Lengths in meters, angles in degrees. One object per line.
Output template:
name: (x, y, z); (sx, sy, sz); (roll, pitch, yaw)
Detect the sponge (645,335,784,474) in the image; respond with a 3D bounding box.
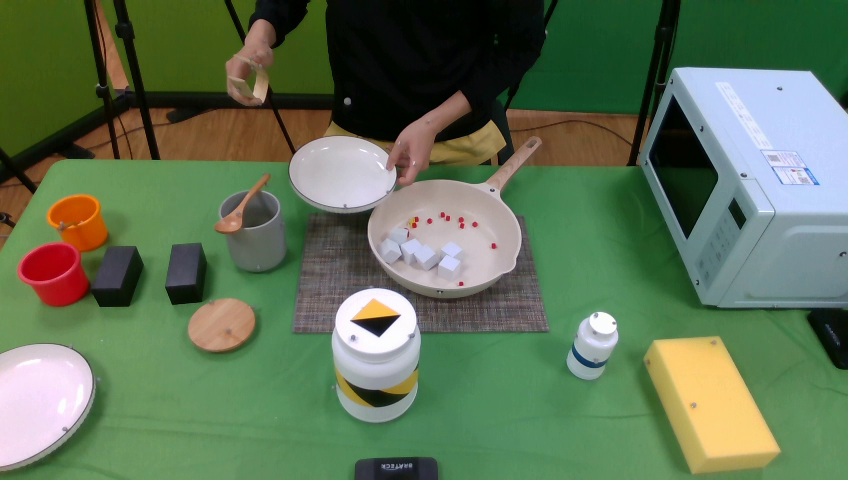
sponge: (0.449, 0.253, 0.956); (0.118, 0.061, 0.205); (-4, 46, -7)

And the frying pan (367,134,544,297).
frying pan: (0.104, -0.069, 1.205); (0.305, 0.103, 0.487); (33, 61, 23)

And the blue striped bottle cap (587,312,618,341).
blue striped bottle cap: (0.279, 0.134, 0.947); (0.044, 0.021, 0.044); (2, 45, -2)

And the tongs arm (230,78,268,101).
tongs arm: (-0.309, -0.271, 1.085); (0.028, 0.028, 0.386); (7, 8, -11)

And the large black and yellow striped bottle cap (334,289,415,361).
large black and yellow striped bottle cap: (-0.069, 0.117, 0.850); (0.115, 0.019, 0.114); (2, 45, -2)

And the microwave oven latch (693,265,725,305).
microwave oven latch: (0.523, 0.081, 1.116); (0.030, 0.029, 0.078); (2, 46, -1)

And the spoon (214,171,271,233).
spoon: (-0.312, -0.070, 1.070); (0.041, 0.022, 0.193); (9, 43, 10)

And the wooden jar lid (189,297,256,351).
wooden jar lid: (-0.342, 0.145, 1.033); (0.108, 0.021, 0.107); (2, 45, -2)

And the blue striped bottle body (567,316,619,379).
blue striped bottle body: (0.276, 0.168, 0.984); (0.063, 0.121, 0.062); (2, 46, -2)

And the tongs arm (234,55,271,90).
tongs arm: (-0.303, -0.293, 1.082); (0.026, 0.051, 0.383); (11, 12, -12)

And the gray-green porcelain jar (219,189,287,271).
gray-green porcelain jar: (-0.310, -0.014, 1.113); (0.106, 0.127, 0.105); (2, 46, -2)

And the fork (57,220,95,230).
fork: (-0.624, -0.027, 1.086); (0.028, 0.207, 0.018); (-2, 91, -17)

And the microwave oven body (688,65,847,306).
microwave oven body: (0.669, -0.111, 1.176); (0.326, 0.261, 0.439); (0, 46, -3)

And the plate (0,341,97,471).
plate: (-0.599, 0.247, 0.904); (0.209, 0.038, 0.208); (2, 47, -2)

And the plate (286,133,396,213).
plate: (-0.159, -0.125, 1.171); (0.208, 0.039, 0.206); (5, 49, -6)

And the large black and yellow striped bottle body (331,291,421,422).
large black and yellow striped bottle body: (-0.071, 0.175, 0.911); (0.131, 0.185, 0.130); (2, 47, -2)

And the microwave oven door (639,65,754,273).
microwave oven door: (0.522, -0.147, 1.193); (0.039, 0.245, 0.353); (0, 47, -3)
